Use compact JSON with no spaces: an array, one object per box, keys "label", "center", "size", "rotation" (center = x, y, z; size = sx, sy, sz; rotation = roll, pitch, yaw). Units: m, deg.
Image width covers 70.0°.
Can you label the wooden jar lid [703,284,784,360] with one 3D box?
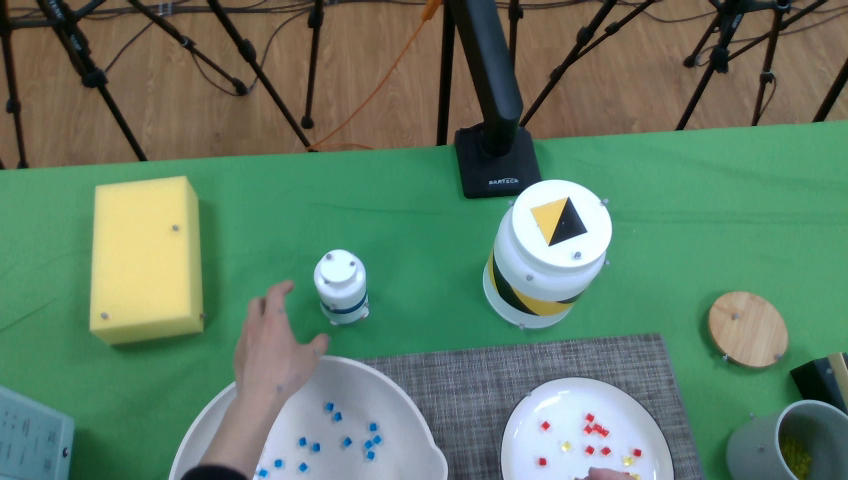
[{"label":"wooden jar lid","center":[0.434,0.113,0.828],"size":[0.108,0.021,0.107],"rotation":[2,65,-3]}]

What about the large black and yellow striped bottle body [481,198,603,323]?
[{"label":"large black and yellow striped bottle body","center":[0.147,0.016,0.763],"size":[0.131,0.185,0.129],"rotation":[2,63,-3]}]

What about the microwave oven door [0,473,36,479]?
[{"label":"microwave oven door","center":[-0.391,0.377,0.492],"size":[0.039,0.245,0.352],"rotation":[-4,64,-6]}]

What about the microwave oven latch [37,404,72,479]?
[{"label":"microwave oven latch","center":[-0.418,0.226,0.677],"size":[0.030,0.030,0.078],"rotation":[1,65,-4]}]

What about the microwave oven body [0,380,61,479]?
[{"label":"microwave oven body","center":[-0.539,0.351,0.499],"size":[0.326,0.262,0.438],"rotation":[-4,65,-6]}]

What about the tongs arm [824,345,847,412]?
[{"label":"tongs arm","center":[0.559,0.308,0.702],"size":[0.051,0.026,0.382],"rotation":[-8,75,-11]}]

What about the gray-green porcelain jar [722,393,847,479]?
[{"label":"gray-green porcelain jar","center":[0.420,0.243,0.704],"size":[0.106,0.127,0.105],"rotation":[2,64,-3]}]

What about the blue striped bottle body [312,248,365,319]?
[{"label":"blue striped bottle body","center":[-0.106,0.051,0.761],"size":[0.063,0.121,0.062],"rotation":[2,64,-4]}]

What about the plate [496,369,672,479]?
[{"label":"plate","center":[0.187,0.260,0.724],"size":[0.209,0.038,0.207],"rotation":[2,64,-3]}]

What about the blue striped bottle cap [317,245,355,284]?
[{"label":"blue striped bottle cap","center":[-0.104,0.028,0.715],"size":[0.044,0.021,0.044],"rotation":[1,61,-2]}]

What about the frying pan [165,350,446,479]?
[{"label":"frying pan","center":[-0.116,0.356,0.618],"size":[0.307,0.103,0.483],"rotation":[-6,56,-4]}]

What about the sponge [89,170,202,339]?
[{"label":"sponge","center":[-0.362,0.016,0.791],"size":[0.118,0.061,0.205],"rotation":[-9,66,-9]}]

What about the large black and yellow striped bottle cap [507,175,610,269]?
[{"label":"large black and yellow striped bottle cap","center":[0.152,-0.022,0.686],"size":[0.115,0.019,0.114],"rotation":[2,63,-3]}]
